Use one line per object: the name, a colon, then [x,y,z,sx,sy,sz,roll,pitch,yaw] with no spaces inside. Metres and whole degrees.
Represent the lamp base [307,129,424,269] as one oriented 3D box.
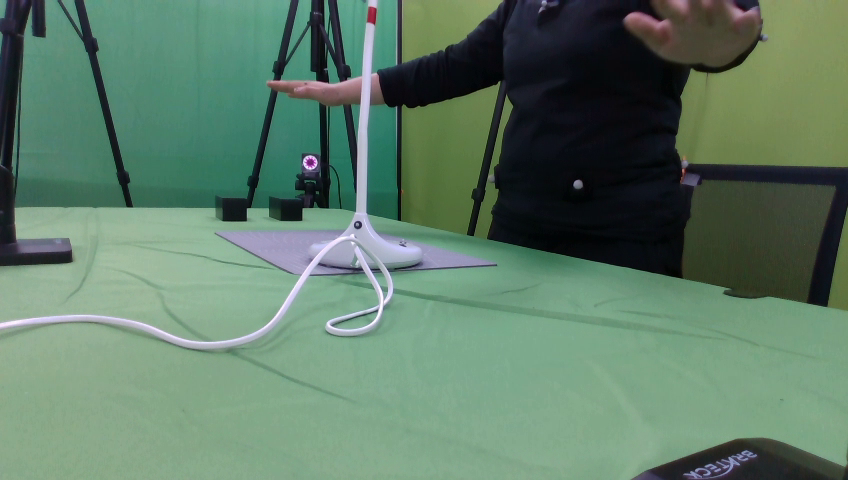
lamp base: [-0.076,-0.057,0.811,0.161,0.180,0.179,2,10,-4]
